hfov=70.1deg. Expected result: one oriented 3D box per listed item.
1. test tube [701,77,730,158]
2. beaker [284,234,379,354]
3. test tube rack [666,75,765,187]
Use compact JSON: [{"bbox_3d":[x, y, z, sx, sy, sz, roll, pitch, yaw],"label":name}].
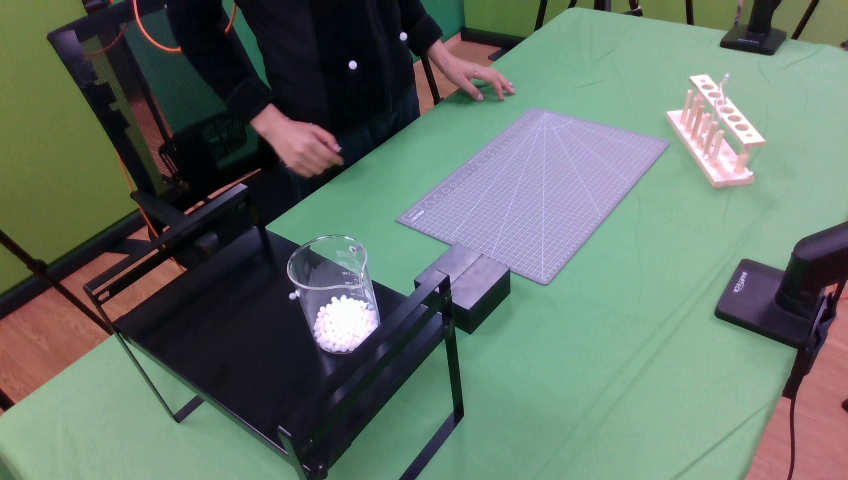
[{"bbox_3d":[0.491,-0.204,1.020,0.017,0.151,0.017,-4,41,4],"label":"test tube"},{"bbox_3d":[-0.083,0.056,0.585,0.083,0.101,0.074,28,53,33],"label":"beaker"},{"bbox_3d":[0.512,-0.201,1.082,0.067,0.085,0.241,-6,41,2],"label":"test tube rack"}]
